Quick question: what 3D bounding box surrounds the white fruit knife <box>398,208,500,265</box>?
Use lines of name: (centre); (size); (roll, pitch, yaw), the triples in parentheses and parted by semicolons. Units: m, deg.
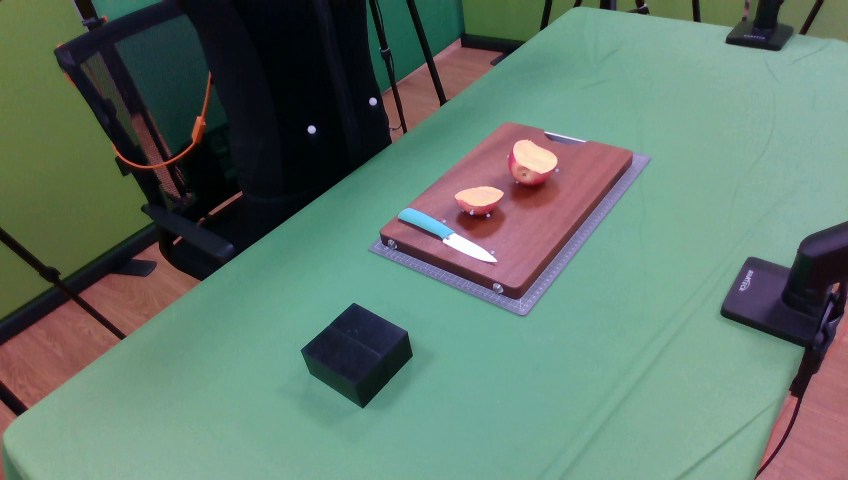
white fruit knife: (0.038, -0.007, 0.950); (0.205, 0.016, 0.027); (29, 82, 35)

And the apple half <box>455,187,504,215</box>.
apple half: (0.094, -0.060, 0.988); (0.081, 0.033, 0.081); (-4, 24, 2)

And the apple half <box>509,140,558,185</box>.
apple half: (0.180, -0.124, 1.028); (0.081, 0.053, 0.074); (25, 44, 3)
